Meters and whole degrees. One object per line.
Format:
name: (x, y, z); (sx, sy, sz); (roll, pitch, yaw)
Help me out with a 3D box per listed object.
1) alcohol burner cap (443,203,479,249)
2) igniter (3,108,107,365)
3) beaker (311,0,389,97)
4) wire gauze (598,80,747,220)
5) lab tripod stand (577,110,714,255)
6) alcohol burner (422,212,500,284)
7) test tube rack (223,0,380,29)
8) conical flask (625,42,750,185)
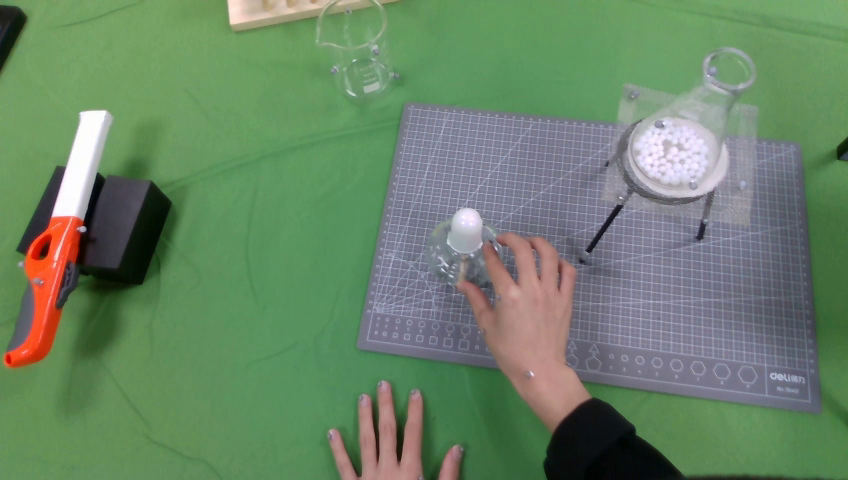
alcohol burner cap: (0.035, -0.015, 0.554); (0.034, 0.048, 0.033); (1, 62, -2)
igniter: (-0.365, -0.013, 0.607); (0.057, 0.025, 0.274); (-1, 67, 7)
beaker: (-0.082, -0.217, 0.688); (0.084, 0.101, 0.073); (-33, 70, -10)
wire gauze: (0.221, -0.081, 0.530); (0.121, 0.011, 0.124); (13, 68, 5)
lab tripod stand: (0.216, -0.053, 0.590); (0.148, 0.132, 0.147); (0, 67, 1)
alcohol burner: (0.037, 0.000, 0.588); (0.078, 0.120, 0.077); (0, 67, 0)
test tube rack: (-0.137, -0.336, 0.744); (0.242, 0.086, 0.066); (-12, 69, -3)
conical flask: (0.210, -0.100, 0.474); (0.075, 0.123, 0.075); (-1, 68, 2)
